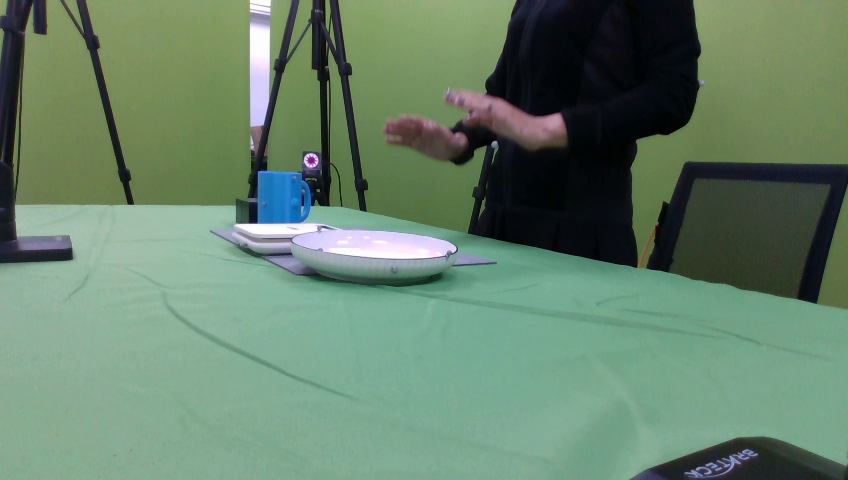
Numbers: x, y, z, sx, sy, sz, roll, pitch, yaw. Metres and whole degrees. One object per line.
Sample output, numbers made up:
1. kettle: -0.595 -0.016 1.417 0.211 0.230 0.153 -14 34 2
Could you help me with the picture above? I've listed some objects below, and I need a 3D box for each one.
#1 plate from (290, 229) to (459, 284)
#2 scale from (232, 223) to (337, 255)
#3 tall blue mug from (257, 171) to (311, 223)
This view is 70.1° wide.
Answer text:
1. plate: -0.062 0.020 0.753 0.209 0.038 0.209 3 9 0
2. scale: -0.178 -0.004 0.920 0.202 0.031 0.148 -1 9 -30
3. tall blue mug: -0.258 -0.070 1.107 0.078 0.108 0.107 2 7 5
